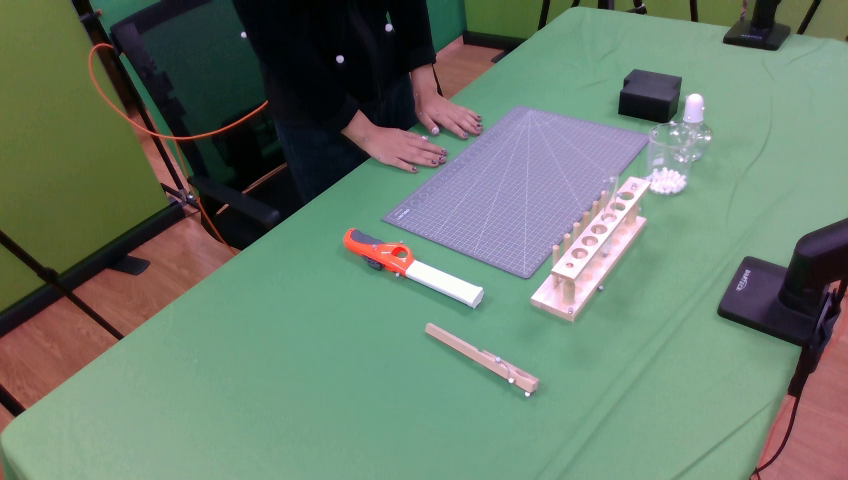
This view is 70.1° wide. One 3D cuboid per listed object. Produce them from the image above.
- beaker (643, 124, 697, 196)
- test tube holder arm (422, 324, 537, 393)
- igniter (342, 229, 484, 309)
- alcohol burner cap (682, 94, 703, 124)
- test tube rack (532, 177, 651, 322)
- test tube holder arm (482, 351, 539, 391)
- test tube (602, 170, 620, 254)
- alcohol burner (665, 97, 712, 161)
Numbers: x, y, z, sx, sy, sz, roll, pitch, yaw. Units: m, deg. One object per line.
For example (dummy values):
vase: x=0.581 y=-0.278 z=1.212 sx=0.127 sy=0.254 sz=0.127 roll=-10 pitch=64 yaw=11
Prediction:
beaker: x=0.407 y=-0.132 z=1.001 sx=0.084 sy=0.101 sz=0.073 roll=-20 pitch=42 yaw=-13
test tube holder arm: x=0.068 y=0.152 z=0.789 sx=0.177 sy=0.015 sz=0.013 roll=23 pitch=15 yaw=32
igniter: x=-0.027 y=0.039 z=0.936 sx=0.274 sy=0.025 sz=0.057 roll=23 pitch=59 yaw=32
alcohol burner cap: x=0.460 y=-0.225 z=1.033 sx=0.034 sy=0.048 sz=0.033 roll=-8 pitch=34 yaw=6
test tube rack: x=0.247 y=0.002 z=0.883 sx=0.066 sy=0.085 sz=0.243 roll=22 pitch=49 yaw=32
test tube holder arm: x=0.106 y=0.166 z=0.769 sx=0.087 sy=0.015 sz=0.010 roll=24 pitch=15 yaw=34
test tube: x=0.261 y=-0.035 z=0.848 sx=0.017 sy=0.151 sz=0.017 roll=-6 pitch=44 yaw=6
alcohol burner: x=0.465 y=-0.198 z=1.057 sx=0.078 sy=0.119 sz=0.077 roll=-4 pitch=41 yaw=4
